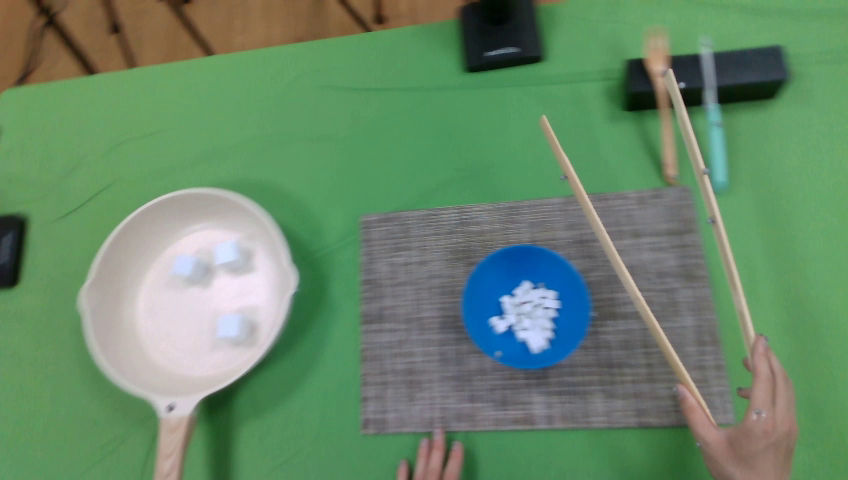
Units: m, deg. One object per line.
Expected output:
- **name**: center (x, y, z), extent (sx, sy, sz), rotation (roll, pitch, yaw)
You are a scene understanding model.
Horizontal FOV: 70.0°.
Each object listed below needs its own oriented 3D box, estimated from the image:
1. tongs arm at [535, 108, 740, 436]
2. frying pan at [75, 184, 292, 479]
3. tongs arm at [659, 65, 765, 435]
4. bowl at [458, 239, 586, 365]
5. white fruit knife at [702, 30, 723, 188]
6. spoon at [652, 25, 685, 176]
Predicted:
- **tongs arm**: center (0.213, 0.030, 0.631), extent (0.028, 0.028, 0.386), rotation (-27, 83, -6)
- **frying pan**: center (-0.316, 0.162, 0.782), extent (0.306, 0.103, 0.483), rotation (-5, 63, 9)
- **tongs arm**: center (0.286, 0.005, 0.630), extent (0.051, 0.026, 0.383), rotation (-15, 83, -1)
- **bowl**: center (0.120, 0.082, 0.745), extent (0.151, 0.077, 0.150), rotation (-3, 72, 8)
- **white fruit knife**: center (0.372, -0.172, 0.787), extent (0.016, 0.027, 0.207), rotation (-3, 87, 4)
- **spoon**: center (0.316, -0.181, 0.793), extent (0.041, 0.022, 0.194), rotation (4, 94, 33)
